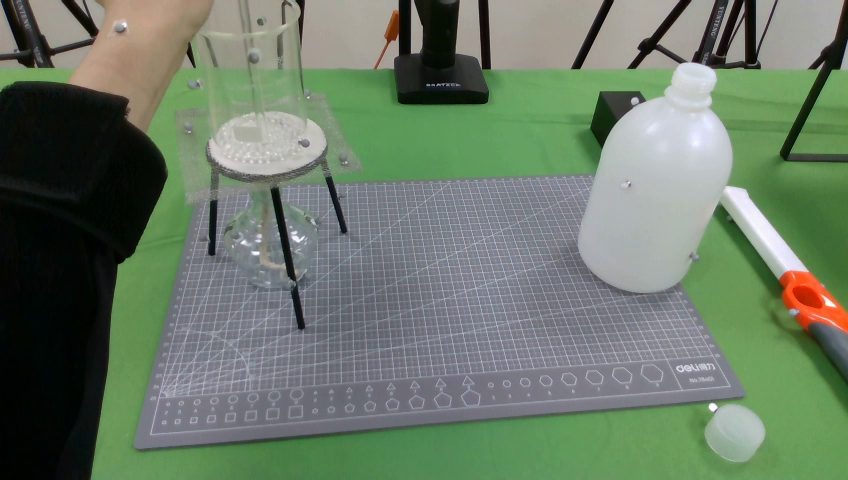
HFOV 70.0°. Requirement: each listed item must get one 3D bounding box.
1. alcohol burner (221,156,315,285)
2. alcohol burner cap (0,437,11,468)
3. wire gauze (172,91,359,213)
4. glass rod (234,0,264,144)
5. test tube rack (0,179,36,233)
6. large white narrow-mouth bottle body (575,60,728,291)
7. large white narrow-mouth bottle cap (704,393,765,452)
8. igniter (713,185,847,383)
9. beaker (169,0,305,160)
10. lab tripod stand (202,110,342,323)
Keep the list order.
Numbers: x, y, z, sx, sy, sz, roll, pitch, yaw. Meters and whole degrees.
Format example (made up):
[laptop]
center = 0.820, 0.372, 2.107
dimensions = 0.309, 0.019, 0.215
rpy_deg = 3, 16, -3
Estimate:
[alcohol burner]
center = -0.132, -0.020, 0.507
dimensions = 0.078, 0.120, 0.077
rpy_deg = 4, 40, -3
[alcohol burner cap]
center = -0.291, 0.129, 0.386
dimensions = 0.034, 0.048, 0.033
rpy_deg = 3, 42, -3
[wire gauze]
center = -0.122, -0.076, 0.457
dimensions = 0.122, 0.011, 0.123
rpy_deg = -13, 49, -16
[glass rod]
center = -0.118, -0.157, 0.382
dimensions = 0.008, 0.201, 0.008
rpy_deg = -1, 27, 1
[test tube rack]
center = -0.473, -0.012, 0.496
dimensions = 0.066, 0.086, 0.242
rpy_deg = 33, 49, 28
[large white narrow-mouth bottle body]
center = 0.195, -0.054, 0.511
dimensions = 0.102, 0.196, 0.101
rpy_deg = 2, 42, -1
[large white narrow-mouth bottle cap]
center = 0.225, 0.133, 0.440
dimensions = 0.038, 0.024, 0.037
rpy_deg = 2, 42, -1
[igniter]
center = 0.336, 0.039, 0.548
dimensions = 0.057, 0.025, 0.273
rpy_deg = 6, 41, -13
[beaker]
center = -0.125, -0.114, 0.426
dimensions = 0.084, 0.101, 0.073
rpy_deg = -7, 45, -12
[lab tripod stand]
center = -0.122, -0.026, 0.500
dimensions = 0.148, 0.132, 0.147
rpy_deg = 4, 42, -3
